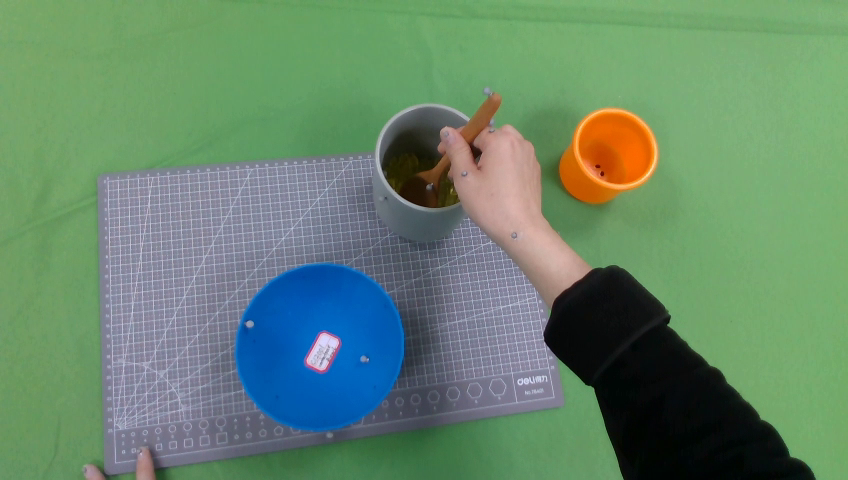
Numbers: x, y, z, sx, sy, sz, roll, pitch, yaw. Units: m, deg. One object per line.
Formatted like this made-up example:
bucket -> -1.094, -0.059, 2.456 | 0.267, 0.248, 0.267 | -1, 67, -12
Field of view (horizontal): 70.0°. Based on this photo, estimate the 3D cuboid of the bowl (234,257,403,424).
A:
bowl -> -0.098, 0.097, 0.579 | 0.152, 0.077, 0.150 | 2, 76, -7

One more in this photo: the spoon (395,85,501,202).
spoon -> 0.019, -0.077, 0.547 | 0.041, 0.194, 0.021 | 46, 59, -1

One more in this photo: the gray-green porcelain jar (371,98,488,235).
gray-green porcelain jar -> 0.000, -0.065, 0.603 | 0.106, 0.127, 0.105 | 2, 76, -6
